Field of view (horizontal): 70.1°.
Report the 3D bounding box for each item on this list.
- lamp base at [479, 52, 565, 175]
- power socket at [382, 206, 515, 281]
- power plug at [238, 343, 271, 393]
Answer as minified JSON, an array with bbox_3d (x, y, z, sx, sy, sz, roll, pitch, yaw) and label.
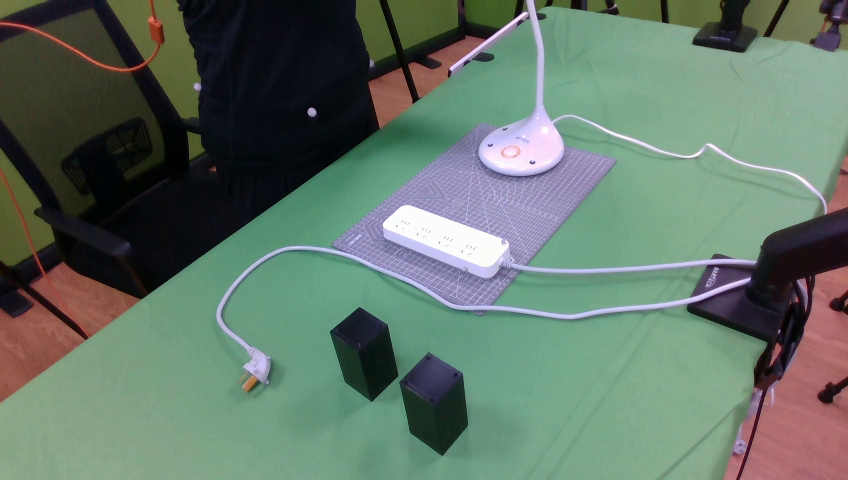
[{"bbox_3d":[0.181,-0.235,1.094,0.159,0.181,0.179,18,43,27],"label":"lamp base"},{"bbox_3d":[0.032,0.002,0.950,0.225,0.033,0.072,21,49,29],"label":"power socket"},{"bbox_3d":[-0.230,0.172,0.801,0.072,0.035,0.053,9,51,50],"label":"power plug"}]
